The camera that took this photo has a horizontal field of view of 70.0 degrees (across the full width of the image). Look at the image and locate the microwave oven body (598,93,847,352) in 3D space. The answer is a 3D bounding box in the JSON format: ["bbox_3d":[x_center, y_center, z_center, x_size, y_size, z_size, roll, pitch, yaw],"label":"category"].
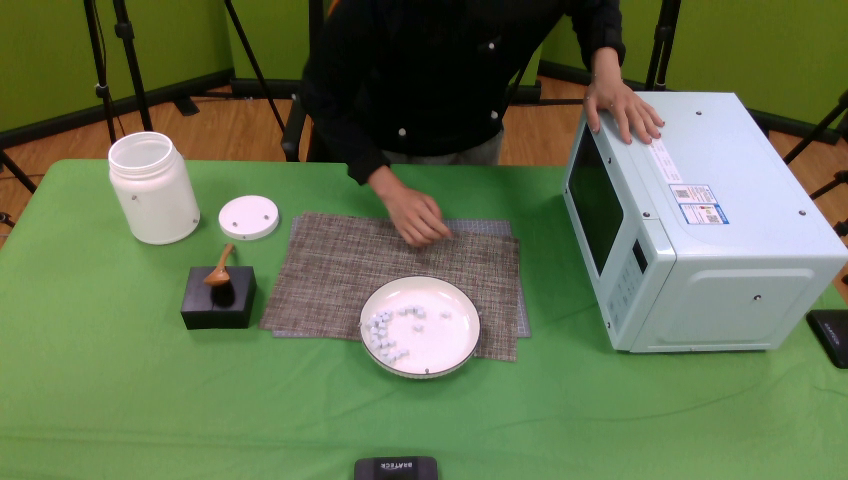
[{"bbox_3d":[0.476,-0.042,1.109,0.326,0.261,0.438,-1,45,-4],"label":"microwave oven body"}]

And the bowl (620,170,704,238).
[{"bbox_3d":[0.445,-0.057,1.166,0.151,0.077,0.150,2,46,-1],"label":"bowl"}]

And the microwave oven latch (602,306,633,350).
[{"bbox_3d":[0.332,0.152,1.044,0.030,0.029,0.078,0,45,-4],"label":"microwave oven latch"}]

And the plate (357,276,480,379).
[{"bbox_3d":[-0.010,0.151,1.038,0.209,0.038,0.208,2,47,-2],"label":"plate"}]

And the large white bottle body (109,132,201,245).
[{"bbox_3d":[-0.506,-0.097,1.141,0.131,0.185,0.130,2,46,-2],"label":"large white bottle body"}]

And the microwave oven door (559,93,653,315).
[{"bbox_3d":[0.327,-0.074,1.123,0.039,0.245,0.353,-1,46,-5],"label":"microwave oven door"}]

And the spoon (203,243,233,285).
[{"bbox_3d":[-0.360,0.039,1.087,0.041,0.022,0.192,-5,24,-7],"label":"spoon"}]

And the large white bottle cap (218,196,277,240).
[{"bbox_3d":[-0.354,-0.045,1.220,0.115,0.018,0.114,2,45,-2],"label":"large white bottle cap"}]
